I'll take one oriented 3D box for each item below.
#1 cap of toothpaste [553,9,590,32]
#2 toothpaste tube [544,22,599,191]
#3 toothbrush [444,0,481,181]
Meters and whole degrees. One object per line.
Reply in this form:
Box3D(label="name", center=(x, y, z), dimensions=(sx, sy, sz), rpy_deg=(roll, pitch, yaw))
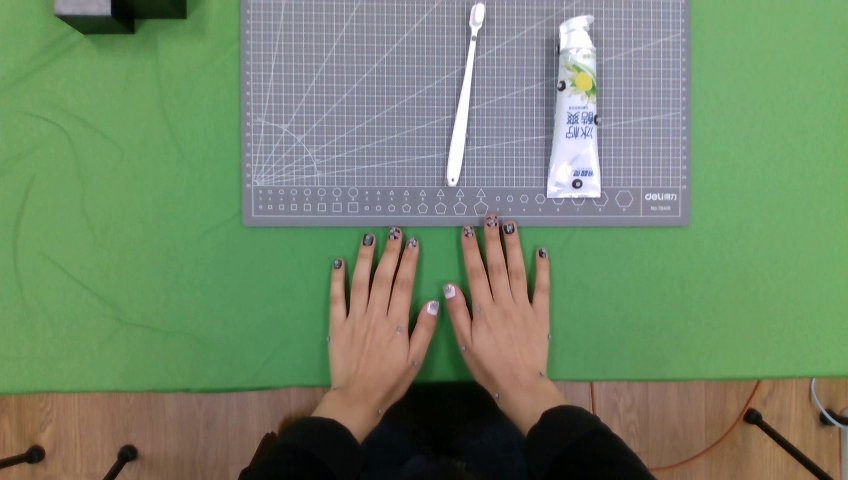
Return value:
Box3D(label="cap of toothpaste", center=(0.145, -0.214, 0.592), dimensions=(0.037, 0.037, 0.011), rpy_deg=(-13, 88, -3))
Box3D(label="toothpaste tube", center=(0.146, -0.132, 0.600), dimensions=(0.055, 0.034, 0.165), rpy_deg=(-1, 95, 4))
Box3D(label="toothbrush", center=(0.038, -0.148, 0.598), dimensions=(0.014, 0.016, 0.182), rpy_deg=(7, 92, -18))
